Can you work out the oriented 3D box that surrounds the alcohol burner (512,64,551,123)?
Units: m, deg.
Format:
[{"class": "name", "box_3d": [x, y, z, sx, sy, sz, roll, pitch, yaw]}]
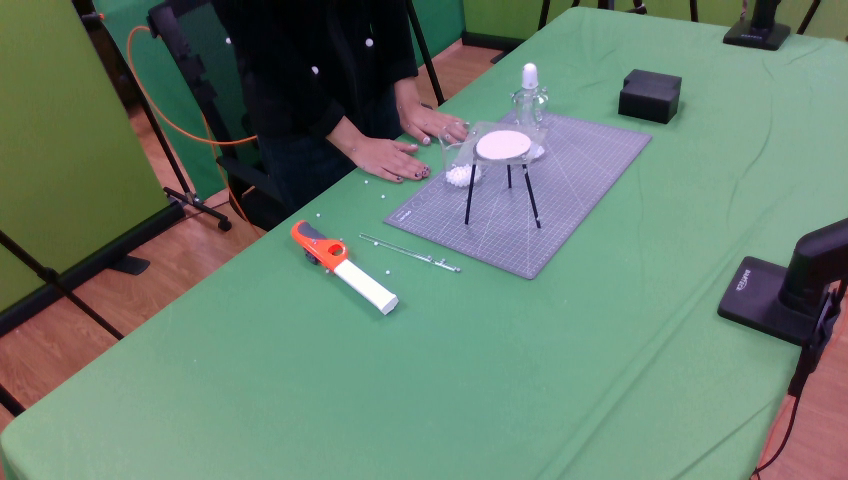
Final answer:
[{"class": "alcohol burner", "box_3d": [0.215, -0.298, 1.220, 0.078, 0.120, 0.077, -7, 40, 7]}]

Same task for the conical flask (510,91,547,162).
[{"class": "conical flask", "box_3d": [0.189, -0.212, 1.116, 0.075, 0.122, 0.075, -6, 40, 5]}]

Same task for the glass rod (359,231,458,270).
[{"class": "glass rod", "box_3d": [-0.029, 0.016, 0.982, 0.198, 0.008, 0.008, 20, 49, 30]}]

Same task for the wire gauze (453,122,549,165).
[{"class": "wire gauze", "box_3d": [0.122, -0.150, 0.942, 0.121, 0.011, 0.125, 8, 42, 21]}]

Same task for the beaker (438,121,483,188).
[{"class": "beaker", "box_3d": [0.066, -0.149, 1.084, 0.073, 0.101, 0.084, 20, 49, 31]}]

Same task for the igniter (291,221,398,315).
[{"class": "igniter", "box_3d": [-0.136, 0.037, 0.962, 0.057, 0.025, 0.274, -41, 48, -18]}]

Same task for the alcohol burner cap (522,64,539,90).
[{"class": "alcohol burner cap", "box_3d": [0.210, -0.325, 1.195, 0.034, 0.048, 0.033, -6, 46, 7]}]

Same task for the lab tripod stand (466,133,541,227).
[{"class": "lab tripod stand", "box_3d": [0.130, -0.099, 0.985, 0.148, 0.132, 0.147, -6, 38, 6]}]
